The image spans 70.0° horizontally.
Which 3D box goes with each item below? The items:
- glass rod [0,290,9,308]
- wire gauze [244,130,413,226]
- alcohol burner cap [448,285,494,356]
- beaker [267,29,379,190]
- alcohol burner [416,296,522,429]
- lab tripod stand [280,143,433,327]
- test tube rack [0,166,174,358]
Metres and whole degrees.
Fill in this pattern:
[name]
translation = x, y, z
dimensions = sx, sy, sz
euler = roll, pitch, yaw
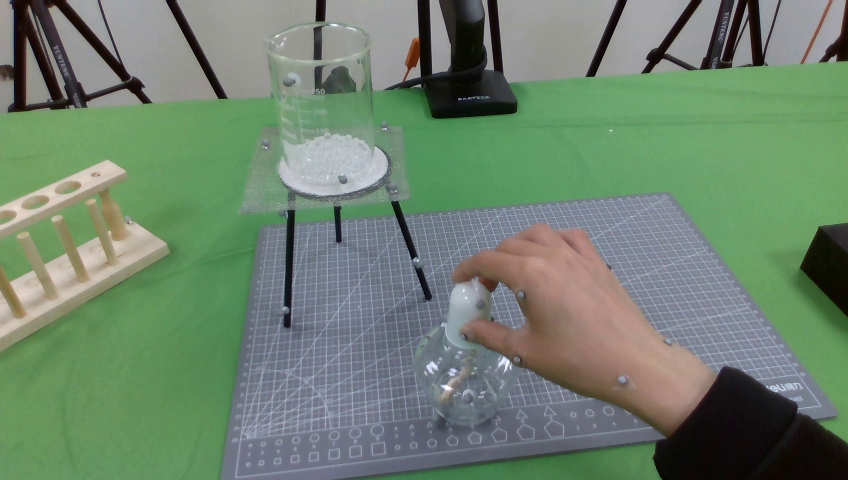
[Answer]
[glass rod]
translation = -0.375, -0.026, 0.489
dimensions = 0.008, 0.201, 0.008
euler = 0, 31, 1
[wire gauze]
translation = -0.073, -0.055, 0.478
dimensions = 0.121, 0.011, 0.124
euler = -3, 40, -3
[alcohol burner cap]
translation = 0.032, 0.051, 0.406
dimensions = 0.034, 0.048, 0.033
euler = 0, 40, 0
[beaker]
translation = -0.074, -0.095, 0.449
dimensions = 0.083, 0.101, 0.074
euler = 20, 42, 22
[alcohol burner]
translation = 0.033, 0.079, 0.429
dimensions = 0.078, 0.120, 0.077
euler = 0, 41, 0
[lab tripod stand]
translation = -0.064, -0.005, 0.522
dimensions = 0.148, 0.132, 0.147
euler = 1, 37, 0
[test tube rack]
translation = -0.351, 0.031, 0.523
dimensions = 0.066, 0.086, 0.242
euler = 26, 46, 30
